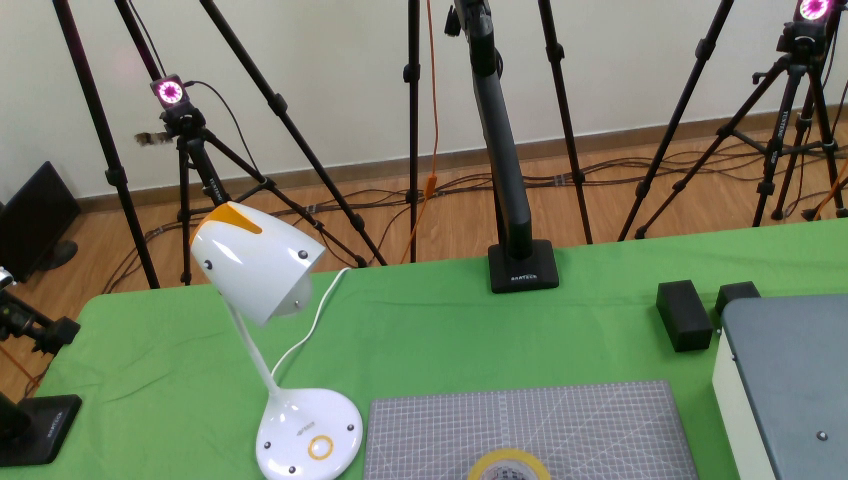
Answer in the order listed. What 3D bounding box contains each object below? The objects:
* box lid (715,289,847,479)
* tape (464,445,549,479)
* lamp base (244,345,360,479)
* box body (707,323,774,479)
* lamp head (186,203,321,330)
[{"bbox_3d":[0.498,0.192,0.658,0.263,0.015,0.368,-4,43,8],"label":"box lid"},{"bbox_3d":[0.107,0.329,0.785,0.117,0.053,0.115,-5,43,5],"label":"tape"},{"bbox_3d":[-0.196,0.235,0.860,0.177,0.182,0.160,24,53,35],"label":"lamp base"},{"bbox_3d":[0.508,0.247,0.707,0.254,0.162,0.360,-4,43,8],"label":"box body"},{"bbox_3d":[-0.190,0.020,0.650,0.123,0.113,0.112,34,52,-2],"label":"lamp head"}]
